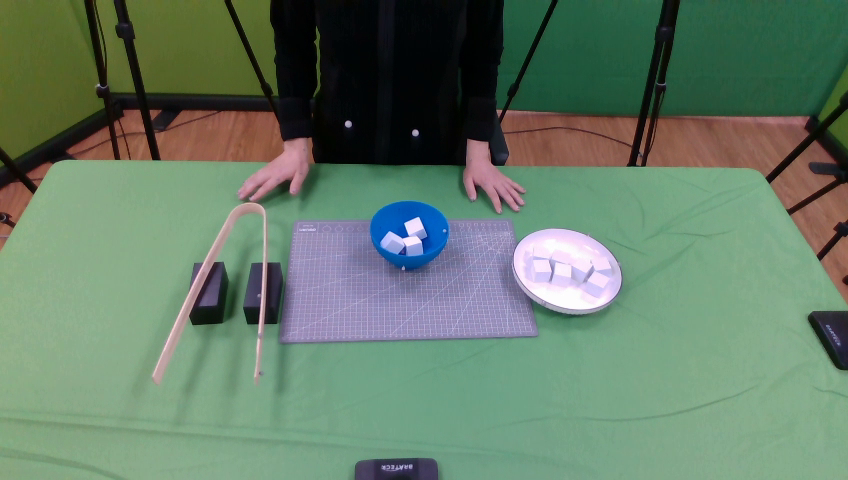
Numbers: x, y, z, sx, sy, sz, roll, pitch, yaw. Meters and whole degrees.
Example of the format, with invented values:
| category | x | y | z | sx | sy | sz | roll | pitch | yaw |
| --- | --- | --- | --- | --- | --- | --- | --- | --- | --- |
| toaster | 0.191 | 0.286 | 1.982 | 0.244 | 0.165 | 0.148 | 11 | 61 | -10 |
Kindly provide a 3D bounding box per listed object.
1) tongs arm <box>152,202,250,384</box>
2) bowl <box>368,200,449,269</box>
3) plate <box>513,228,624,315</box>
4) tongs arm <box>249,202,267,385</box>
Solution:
| category | x | y | z | sx | sy | sz | roll | pitch | yaw |
| --- | --- | --- | --- | --- | --- | --- | --- | --- | --- |
| tongs arm | -0.371 | 0.071 | 1.028 | 0.028 | 0.028 | 0.385 | 4 | 46 | 6 |
| bowl | -0.031 | 0.002 | 1.151 | 0.151 | 0.077 | 0.150 | 2 | 46 | -2 |
| plate | 0.268 | 0.063 | 1.146 | 0.208 | 0.039 | 0.206 | 3 | 46 | -3 |
| tongs arm | -0.293 | 0.074 | 1.032 | 0.051 | 0.026 | 0.382 | -3 | 47 | -5 |
